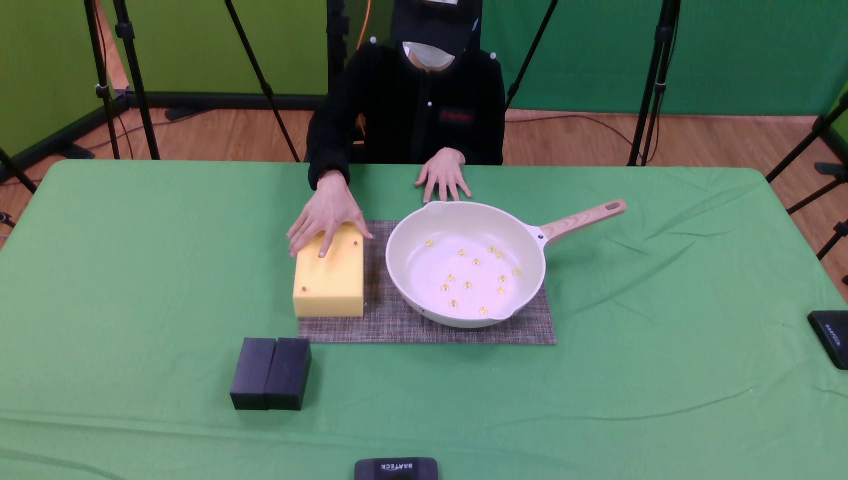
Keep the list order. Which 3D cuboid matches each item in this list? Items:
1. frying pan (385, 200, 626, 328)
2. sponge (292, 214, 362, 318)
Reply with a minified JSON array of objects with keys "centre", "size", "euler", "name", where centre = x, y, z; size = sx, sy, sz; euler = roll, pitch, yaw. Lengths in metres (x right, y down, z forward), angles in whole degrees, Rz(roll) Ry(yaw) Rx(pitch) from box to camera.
[{"centre":[0.169,0.014,1.137],"size":[0.488,0.103,0.304],"euler":[-19,51,-11],"name":"frying pan"},{"centre":[-0.173,0.044,1.112],"size":[0.118,0.061,0.205],"euler":[-1,46,-5],"name":"sponge"}]
